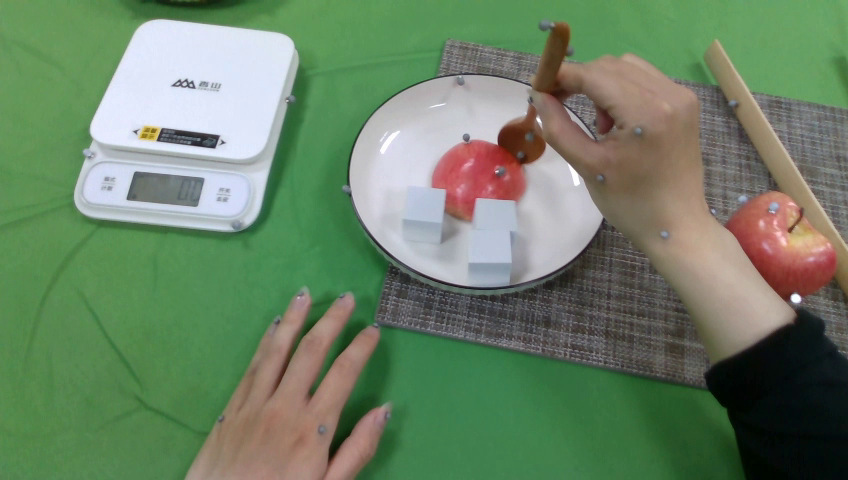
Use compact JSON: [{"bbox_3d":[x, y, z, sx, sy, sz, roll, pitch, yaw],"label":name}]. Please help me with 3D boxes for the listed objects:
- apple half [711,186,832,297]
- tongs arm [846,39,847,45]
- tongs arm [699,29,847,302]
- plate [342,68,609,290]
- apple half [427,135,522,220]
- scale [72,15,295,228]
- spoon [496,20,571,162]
[{"bbox_3d":[0.247,0.008,0.451,0.053,0.075,0.080,-24,69,-11],"label":"apple half"},{"bbox_3d":[0.404,-0.036,0.507,0.051,0.027,0.381,1,63,-4],"label":"tongs arm"},{"bbox_3d":[0.321,-0.030,0.499,0.028,0.028,0.384,-10,63,-13],"label":"tongs arm"},{"bbox_3d":[0.040,-0.050,0.491,0.209,0.038,0.207,2,61,-2],"label":"plate"},{"bbox_3d":[0.041,-0.056,0.488,0.081,0.033,0.080,1,60,-1],"label":"apple half"},{"bbox_3d":[-0.199,-0.106,0.516,0.149,0.032,0.199,6,62,0],"label":"scale"},{"bbox_3d":[0.077,-0.093,0.420,0.041,0.194,0.021,22,82,5],"label":"spoon"}]
